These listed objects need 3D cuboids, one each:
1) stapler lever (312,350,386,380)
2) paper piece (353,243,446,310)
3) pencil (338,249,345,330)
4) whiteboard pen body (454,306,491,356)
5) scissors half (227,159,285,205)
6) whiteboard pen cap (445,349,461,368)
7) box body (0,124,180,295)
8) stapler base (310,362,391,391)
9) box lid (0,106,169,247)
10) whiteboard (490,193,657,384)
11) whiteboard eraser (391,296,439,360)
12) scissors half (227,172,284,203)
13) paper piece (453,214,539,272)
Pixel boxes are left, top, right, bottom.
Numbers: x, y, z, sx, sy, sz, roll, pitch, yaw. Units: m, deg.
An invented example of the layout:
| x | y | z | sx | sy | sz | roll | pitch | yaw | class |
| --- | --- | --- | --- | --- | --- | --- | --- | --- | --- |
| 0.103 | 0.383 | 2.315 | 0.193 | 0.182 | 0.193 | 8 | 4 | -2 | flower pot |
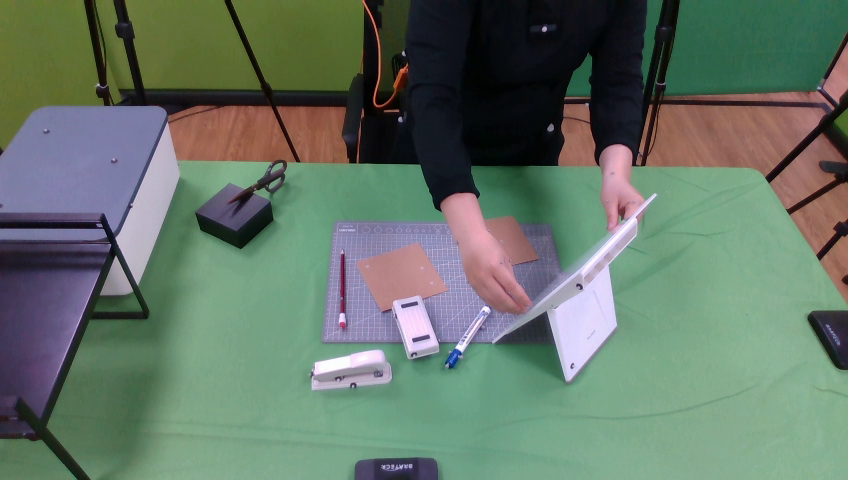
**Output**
| x | y | z | sx | sy | sz | roll | pitch | yaw | class |
| --- | --- | --- | --- | --- | --- | --- | --- | --- | --- |
| -0.120 | 0.198 | 0.963 | 0.118 | 0.040 | 0.026 | -4 | 44 | -8 | stapler lever |
| -0.046 | 0.066 | 1.137 | 0.136 | 0.009 | 0.137 | -13 | 46 | -22 | paper piece |
| -0.153 | 0.085 | 1.107 | 0.012 | 0.012 | 0.192 | -2 | 45 | -7 | pencil |
| 0.079 | 0.163 | 1.046 | 0.017 | 0.017 | 0.140 | 26 | 49 | 19 | whiteboard pen body |
| -0.336 | -0.117 | 1.218 | 0.013 | 0.040 | 0.175 | 26 | 47 | 13 | scissors half |
| 0.048 | 0.196 | 1.011 | 0.018 | 0.018 | 0.033 | 23 | 51 | 17 | whiteboard pen cap |
| -0.628 | -0.075 | 1.122 | 0.254 | 0.161 | 0.361 | 1 | 46 | -4 | box body |
| -0.119 | 0.215 | 0.981 | 0.131 | 0.024 | 0.041 | -5 | 44 | -7 | stapler base |
| -0.624 | -0.125 | 1.067 | 0.263 | 0.015 | 0.369 | 0 | 46 | -3 | box lid |
| 0.277 | 0.101 | 0.969 | 0.217 | 0.306 | 0.143 | -36 | 79 | -33 | whiteboard |
| -0.017 | 0.150 | 1.034 | 0.056 | 0.042 | 0.112 | -10 | 48 | -15 | whiteboard eraser |
| -0.340 | -0.101 | 1.231 | 0.013 | 0.040 | 0.175 | 22 | 28 | 17 | scissors half |
| 0.142 | 0.003 | 1.212 | 0.135 | 0.004 | 0.135 | -11 | 47 | -14 | paper piece |
